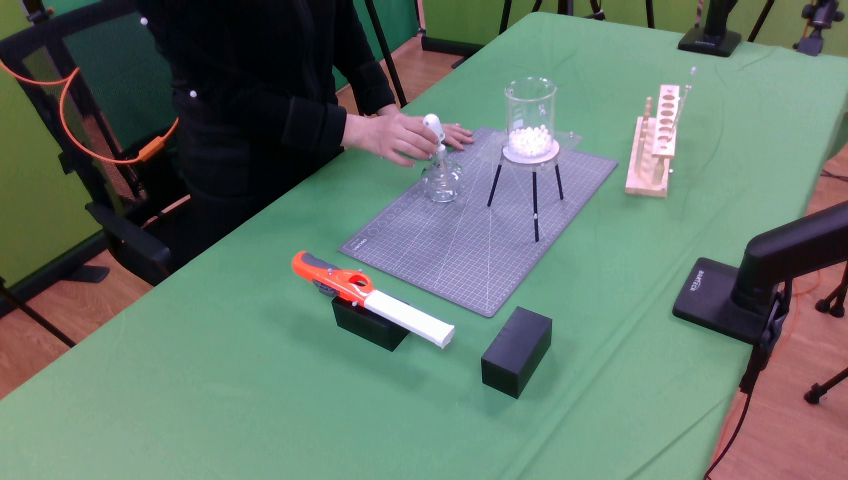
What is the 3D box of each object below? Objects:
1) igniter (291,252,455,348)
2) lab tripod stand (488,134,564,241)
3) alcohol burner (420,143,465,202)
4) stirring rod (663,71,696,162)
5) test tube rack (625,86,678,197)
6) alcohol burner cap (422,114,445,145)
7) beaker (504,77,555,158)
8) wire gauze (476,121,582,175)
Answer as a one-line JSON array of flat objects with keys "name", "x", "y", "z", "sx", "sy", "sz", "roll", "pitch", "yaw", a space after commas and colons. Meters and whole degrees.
[{"name": "igniter", "x": -0.080, "y": 0.076, "z": 0.822, "sx": 0.274, "sy": 0.025, "sz": 0.057, "roll": 23, "pitch": 45, "yaw": 27}, {"name": "lab tripod stand", "x": 0.168, "y": -0.092, "z": 0.972, "sx": 0.148, "sy": 0.132, "sz": 0.147, "roll": -5, "pitch": 41, "yaw": 5}, {"name": "alcohol burner", "x": 0.030, "y": -0.125, "z": 1.044, "sx": 0.078, "sy": 0.119, "sz": 0.077, "roll": -5, "pitch": 42, "yaw": 5}, {"name": "stirring rod", "x": 0.410, "y": -0.196, "z": 0.981, "sx": 0.014, "sy": 0.177, "sz": 0.006, "roll": 11, "pitch": 50, "yaw": 13}, {"name": "test tube rack", "x": 0.412, "y": -0.184, "z": 1.088, "sx": 0.066, "sy": 0.085, "sz": 0.242, "roll": 9, "pitch": 43, "yaw": 18}, {"name": "alcohol burner cap", "x": 0.015, "y": -0.183, "z": 0.985, "sx": 0.034, "sy": 0.048, "sz": 0.033, "roll": -9, "pitch": 47, "yaw": 11}, {"name": "beaker", "x": 0.160, "y": -0.181, "z": 0.900, "sx": 0.084, "sy": 0.101, "sz": 0.073, "roll": -33, "pitch": 46, "yaw": -27}, {"name": "wire gauze", "x": 0.162, "y": -0.142, "z": 0.929, "sx": 0.120, "sy": 0.011, "sz": 0.125, "roll": 19, "pitch": 49, "yaw": 32}]
